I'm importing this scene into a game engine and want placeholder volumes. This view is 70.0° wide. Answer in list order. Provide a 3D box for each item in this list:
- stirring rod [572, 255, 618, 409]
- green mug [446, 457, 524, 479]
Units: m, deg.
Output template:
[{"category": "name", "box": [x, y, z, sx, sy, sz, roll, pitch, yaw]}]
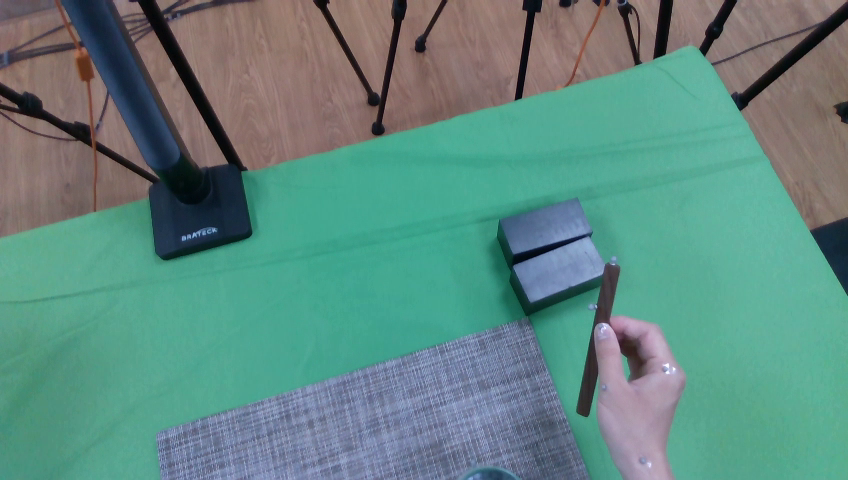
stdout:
[{"category": "stirring rod", "box": [0.157, 0.090, 0.563, 0.014, 0.177, 0.006, 19, 34, 27]}, {"category": "green mug", "box": [0.071, 0.274, 0.592, 0.092, 0.106, 0.124, -33, 69, -11]}]
